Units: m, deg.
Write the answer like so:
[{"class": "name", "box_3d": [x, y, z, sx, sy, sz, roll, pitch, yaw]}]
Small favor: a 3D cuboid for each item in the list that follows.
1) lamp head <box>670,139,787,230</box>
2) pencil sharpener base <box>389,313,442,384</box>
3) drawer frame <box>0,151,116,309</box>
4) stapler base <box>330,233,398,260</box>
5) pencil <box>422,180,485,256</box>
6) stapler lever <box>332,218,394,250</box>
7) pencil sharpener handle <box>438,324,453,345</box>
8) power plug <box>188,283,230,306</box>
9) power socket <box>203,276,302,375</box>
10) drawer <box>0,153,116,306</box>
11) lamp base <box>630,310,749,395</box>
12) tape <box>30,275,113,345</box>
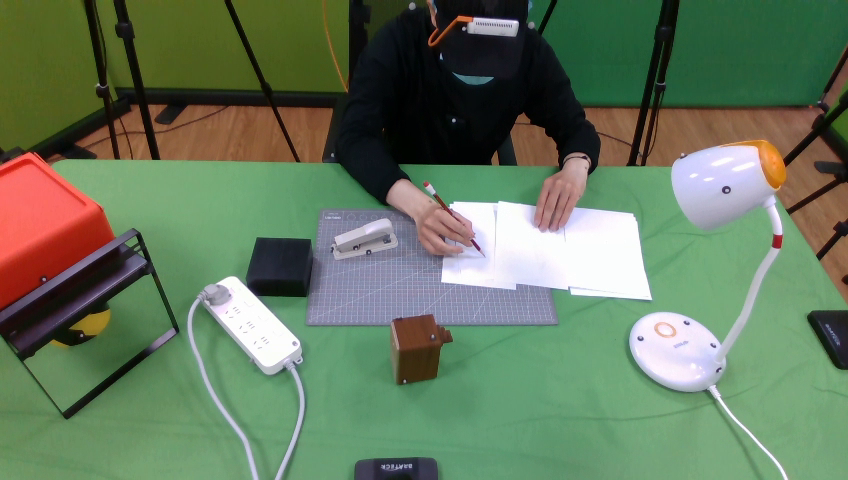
[{"class": "lamp head", "box_3d": [0.415, -0.079, 0.812, 0.113, 0.123, 0.112, 12, 70, -37]}, {"class": "pencil sharpener base", "box_3d": [-0.013, 0.175, 0.971, 0.077, 0.107, 0.061, -8, 47, -11]}, {"class": "drawer frame", "box_3d": [-0.604, -0.013, 0.876, 0.201, 0.083, 0.213, 31, 52, 23]}, {"class": "stapler base", "box_3d": [-0.116, 0.004, 1.181, 0.131, 0.024, 0.041, -13, 48, -14]}, {"class": "pencil", "box_3d": [0.060, -0.040, 1.156, 0.195, 0.012, 0.012, 50, 48, -18]}, {"class": "stapler lever", "box_3d": [-0.116, -0.012, 1.162, 0.118, 0.040, 0.026, -13, 48, -14]}, {"class": "pencil sharpener handle", "box_3d": [0.036, 0.155, 0.976, 0.031, 0.068, 0.036, -8, 69, -11]}, {"class": "power plug", "box_3d": [-0.368, 0.099, 1.037, 0.072, 0.053, 0.035, -24, 52, -26]}, {"class": "power socket", "box_3d": [-0.297, 0.141, 1.034, 0.072, 0.033, 0.225, -34, 58, -30]}, {"class": "drawer", "box_3d": [-0.601, -0.015, 0.880, 0.193, 0.073, 0.211, 32, 53, 23]}, {"class": "lamp base", "box_3d": [0.447, 0.143, 0.984, 0.161, 0.181, 0.178, -24, 55, -24]}, {"class": "tape", "box_3d": [-0.593, 0.117, 1.021, 0.117, 0.053, 0.116, 2, 46, -2]}]
